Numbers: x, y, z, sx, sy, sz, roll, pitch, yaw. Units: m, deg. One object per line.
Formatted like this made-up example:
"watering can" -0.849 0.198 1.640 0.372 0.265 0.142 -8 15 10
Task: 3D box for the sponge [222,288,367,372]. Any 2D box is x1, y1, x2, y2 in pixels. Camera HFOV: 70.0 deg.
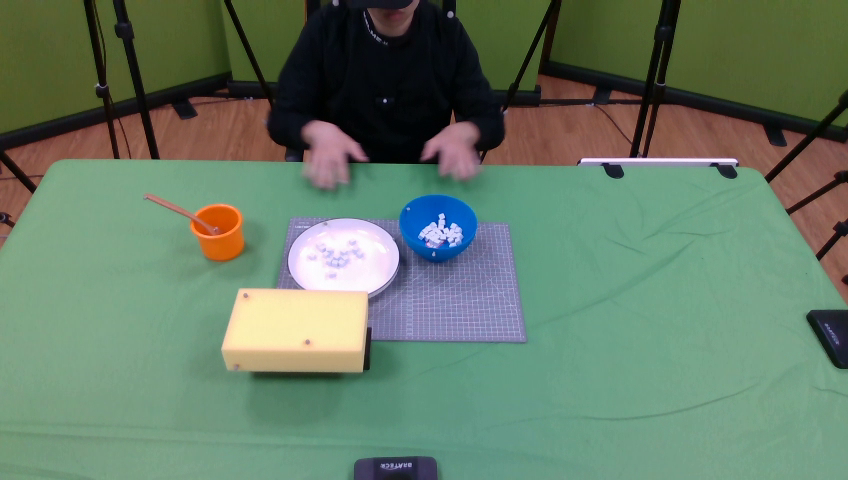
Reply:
"sponge" -0.196 0.141 0.952 0.207 0.061 0.117 1 46 -3

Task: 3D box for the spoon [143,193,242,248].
"spoon" -0.421 -0.037 1.113 0.021 0.195 0.041 -36 37 23

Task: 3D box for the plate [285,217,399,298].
"plate" -0.150 0.041 1.131 0.209 0.038 0.208 2 45 -2

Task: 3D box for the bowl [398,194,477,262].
"bowl" 0.023 -0.011 1.167 0.151 0.077 0.150 2 46 -2
